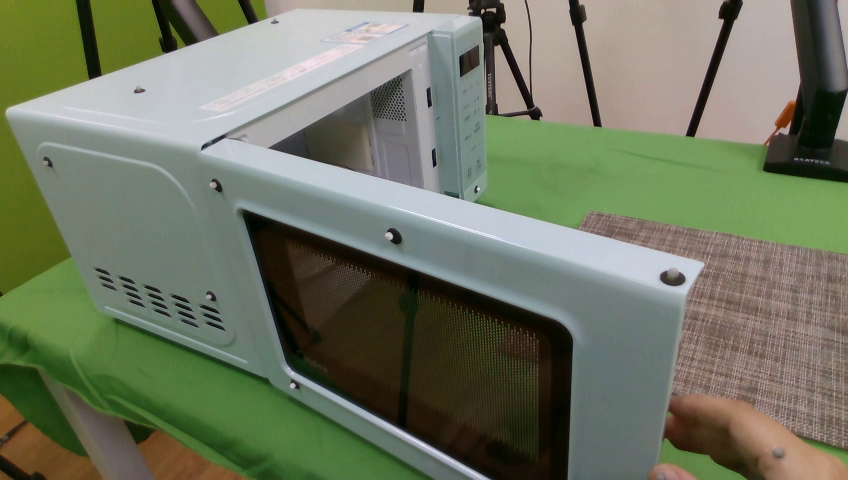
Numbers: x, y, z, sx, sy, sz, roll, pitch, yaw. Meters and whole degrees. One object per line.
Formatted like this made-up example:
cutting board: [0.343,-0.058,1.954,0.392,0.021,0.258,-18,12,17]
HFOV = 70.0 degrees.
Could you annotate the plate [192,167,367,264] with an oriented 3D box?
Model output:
plate: [-0.170,-0.029,0.733,0.209,0.038,0.207,-5,31,3]

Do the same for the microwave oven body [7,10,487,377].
microwave oven body: [-0.163,-0.092,0.735,0.324,0.262,0.440,13,37,27]

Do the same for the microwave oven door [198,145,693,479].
microwave oven door: [-0.010,0.076,0.422,0.353,0.246,0.039,17,39,33]

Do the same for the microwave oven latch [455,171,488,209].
microwave oven latch: [0.062,-0.069,0.845,0.030,0.030,0.079,14,37,28]

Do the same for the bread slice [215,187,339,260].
bread slice: [-0.173,-0.028,0.736,0.104,0.019,0.131,21,42,35]
